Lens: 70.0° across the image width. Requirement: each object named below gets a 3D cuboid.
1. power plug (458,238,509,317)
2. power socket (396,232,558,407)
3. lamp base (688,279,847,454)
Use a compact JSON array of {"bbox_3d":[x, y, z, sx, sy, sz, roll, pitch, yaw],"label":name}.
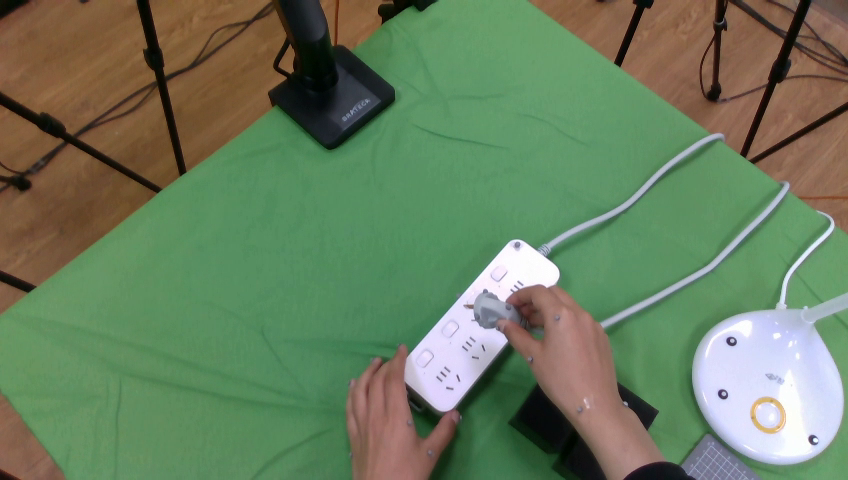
[{"bbox_3d":[0.058,0.039,0.588,0.052,0.035,0.072,-5,70,27],"label":"power plug"},{"bbox_3d":[0.060,0.082,0.660,0.072,0.033,0.226,40,72,12],"label":"power socket"},{"bbox_3d":[0.368,0.104,0.583,0.160,0.181,0.178,15,65,5],"label":"lamp base"}]
